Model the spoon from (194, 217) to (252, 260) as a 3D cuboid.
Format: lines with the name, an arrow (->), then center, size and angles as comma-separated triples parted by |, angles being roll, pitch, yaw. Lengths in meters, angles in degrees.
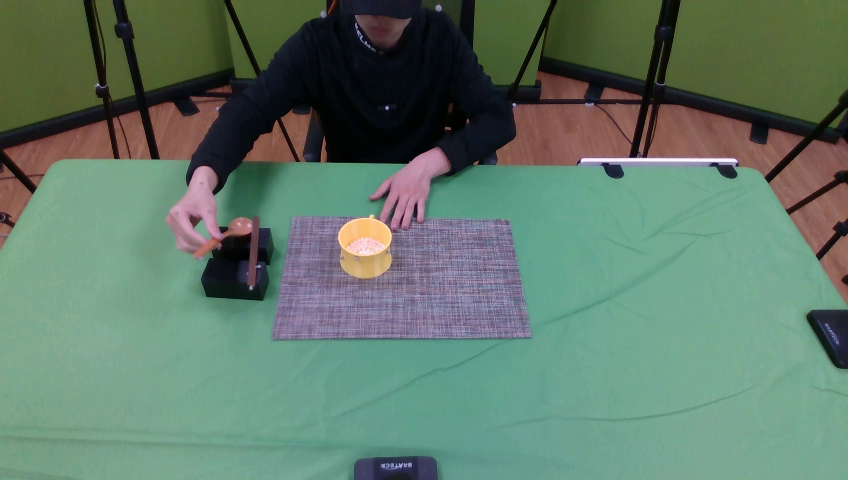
spoon -> -0.351, -0.004, 1.058 | 0.041, 0.021, 0.193 | 30, 19, -1

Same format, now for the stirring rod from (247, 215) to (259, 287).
stirring rod -> -0.309, 0.017, 1.097 | 0.014, 0.006, 0.175 | 24, 36, -31

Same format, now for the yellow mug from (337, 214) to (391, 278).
yellow mug -> -0.110, 0.003, 1.152 | 0.100, 0.064, 0.130 | 7, 45, 2
